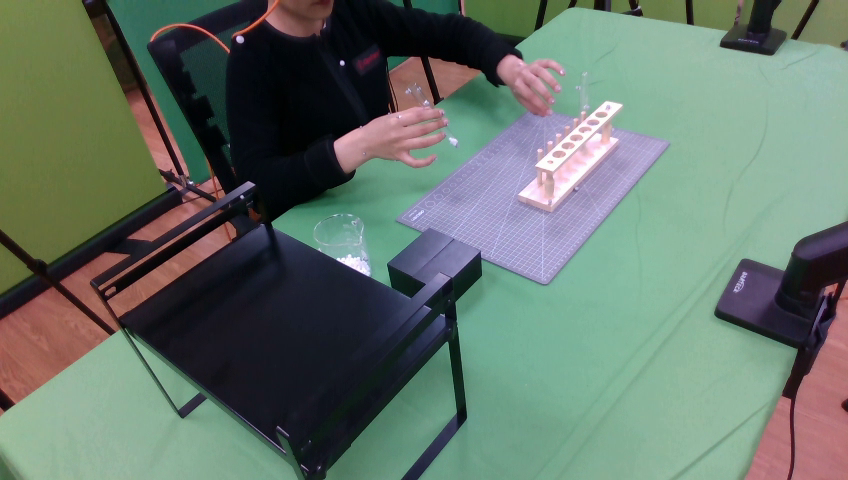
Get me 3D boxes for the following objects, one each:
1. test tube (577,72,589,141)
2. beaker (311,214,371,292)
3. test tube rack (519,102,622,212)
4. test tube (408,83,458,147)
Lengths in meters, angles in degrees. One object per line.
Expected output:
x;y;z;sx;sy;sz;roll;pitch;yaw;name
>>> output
0.284;-0.233;1.083;0.017;0.151;0.017;-5;44;6;test tube
-0.118;0.022;0.908;0.083;0.101;0.074;26;51;32;beaker
0.260;-0.155;1.065;0.066;0.085;0.243;25;50;32;test tube rack
0.018;-0.208;1.019;0.017;0.151;0.017;-20;48;24;test tube
